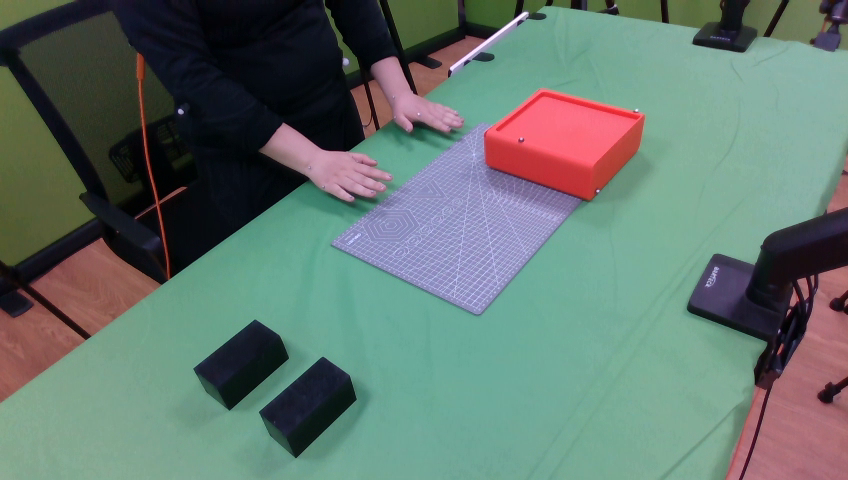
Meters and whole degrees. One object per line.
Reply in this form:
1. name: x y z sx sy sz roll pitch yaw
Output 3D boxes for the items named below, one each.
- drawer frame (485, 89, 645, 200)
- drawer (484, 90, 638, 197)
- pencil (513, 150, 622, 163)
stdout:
1. drawer frame: 0.253 -0.180 1.094 0.212 0.083 0.202 24 48 31
2. drawer: 0.247 -0.180 1.097 0.210 0.073 0.195 25 49 31
3. pencil: 0.260 -0.150 1.099 0.194 0.012 0.012 -4 40 6
